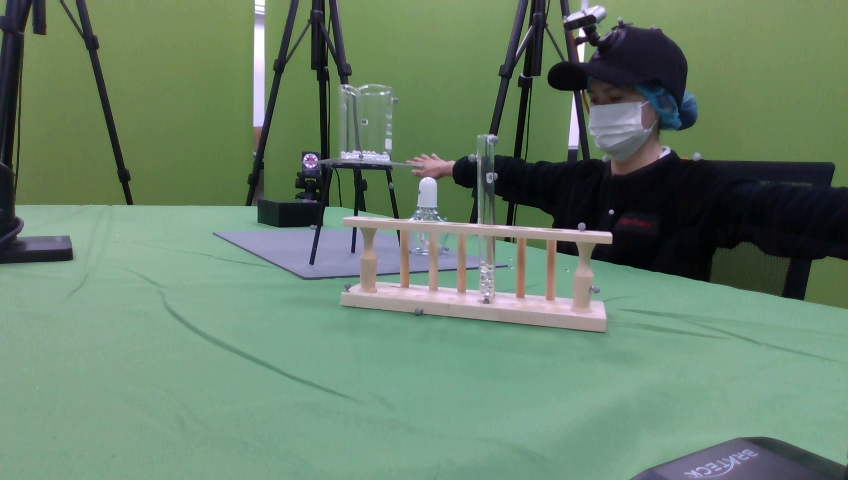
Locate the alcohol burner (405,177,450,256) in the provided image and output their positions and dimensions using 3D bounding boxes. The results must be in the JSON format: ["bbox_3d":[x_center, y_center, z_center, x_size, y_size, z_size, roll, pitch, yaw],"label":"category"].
[{"bbox_3d":[0.004,-0.036,0.917,0.078,0.119,0.078,3,6,0],"label":"alcohol burner"}]

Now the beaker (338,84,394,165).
[{"bbox_3d":[-0.077,-0.149,0.792,0.074,0.100,0.084,2,6,9],"label":"beaker"}]

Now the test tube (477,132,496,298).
[{"bbox_3d":[0.056,-0.020,0.540,0.017,0.150,0.017,-1,11,1],"label":"test tube"}]

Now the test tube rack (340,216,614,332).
[{"bbox_3d":[0.048,0.026,0.568,0.242,0.085,0.067,4,8,13],"label":"test tube rack"}]

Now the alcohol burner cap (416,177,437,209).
[{"bbox_3d":[0.005,-0.072,0.914,0.034,0.048,0.034,4,10,0],"label":"alcohol burner cap"}]

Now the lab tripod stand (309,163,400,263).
[{"bbox_3d":[-0.091,-0.037,0.813,0.148,0.131,0.148,1,6,0],"label":"lab tripod stand"}]

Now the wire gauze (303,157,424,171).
[{"bbox_3d":[-0.082,-0.101,0.799,0.126,0.011,0.121,1,7,-30],"label":"wire gauze"}]
